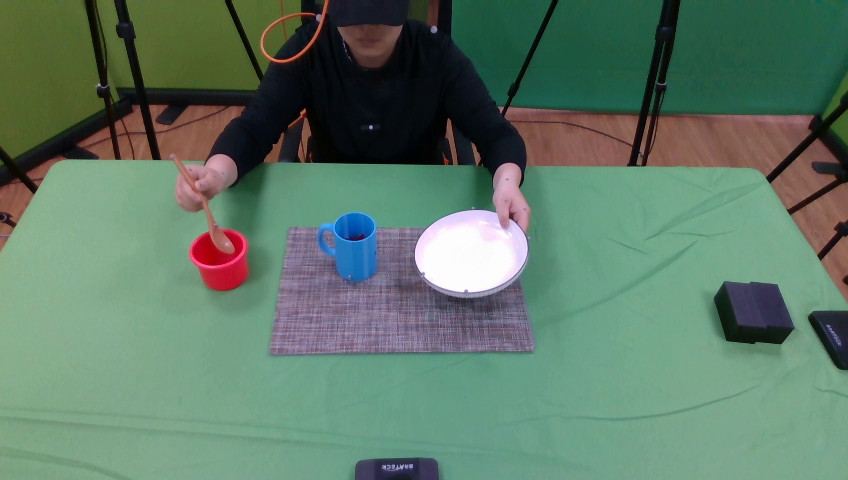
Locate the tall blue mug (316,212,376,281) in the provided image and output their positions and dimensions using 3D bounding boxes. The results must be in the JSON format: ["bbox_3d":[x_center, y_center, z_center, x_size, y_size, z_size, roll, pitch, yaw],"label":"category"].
[{"bbox_3d":[-0.142,0.014,1.109,0.107,0.108,0.077,-5,47,-8],"label":"tall blue mug"}]

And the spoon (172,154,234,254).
[{"bbox_3d":[-0.379,-0.060,1.043,0.021,0.194,0.041,-15,20,15],"label":"spoon"}]

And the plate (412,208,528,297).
[{"bbox_3d":[0.084,0.026,1.096,0.207,0.039,0.206,-6,45,6],"label":"plate"}]
